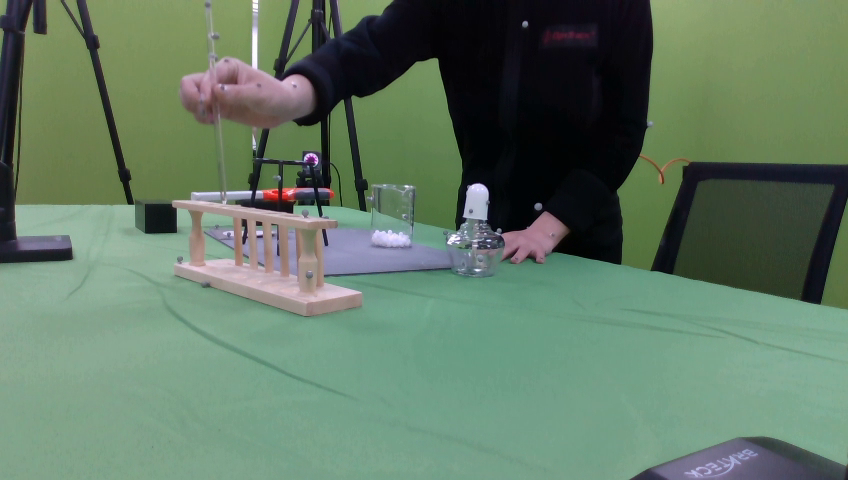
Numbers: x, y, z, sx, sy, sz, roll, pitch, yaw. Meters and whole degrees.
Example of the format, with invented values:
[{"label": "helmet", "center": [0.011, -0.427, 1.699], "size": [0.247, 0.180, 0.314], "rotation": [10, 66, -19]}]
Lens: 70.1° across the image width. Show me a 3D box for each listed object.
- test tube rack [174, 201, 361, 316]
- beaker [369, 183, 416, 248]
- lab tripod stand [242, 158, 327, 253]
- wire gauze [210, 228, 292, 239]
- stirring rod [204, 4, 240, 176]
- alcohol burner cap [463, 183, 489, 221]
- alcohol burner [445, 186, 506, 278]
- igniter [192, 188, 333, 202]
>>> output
[{"label": "test tube rack", "center": [-0.169, 0.010, 0.622], "size": [0.241, 0.085, 0.067], "rotation": [9, 9, 41]}, {"label": "beaker", "center": [-0.050, -0.039, 0.971], "size": [0.074, 0.100, 0.083], "rotation": [-1, 9, -25]}, {"label": "lab tripod stand", "center": [-0.207, -0.054, 0.895], "size": [0.148, 0.131, 0.148], "rotation": [2, 5, 0]}, {"label": "wire gauze", "center": [-0.298, -0.013, 1.039], "size": [0.122, 0.011, 0.124], "rotation": [-2, 6, -27]}, {"label": "stirring rod", "center": [-0.206, -0.152, 0.620], "size": [0.006, 0.176, 0.014], "rotation": [-9, 3, 2]}, {"label": "alcohol burner cap", "center": [0.067, -0.048, 0.765], "size": [0.034, 0.048, 0.034], "rotation": [5, 5, 0]}, {"label": "alcohol burner", "center": [0.065, -0.012, 0.771], "size": [0.078, 0.119, 0.078], "rotation": [0, 7, 0]}, {"label": "igniter", "center": [-0.316, -0.090, 1.213], "size": [0.278, 0.025, 0.057], "rotation": [-5, 12, -32]}]
